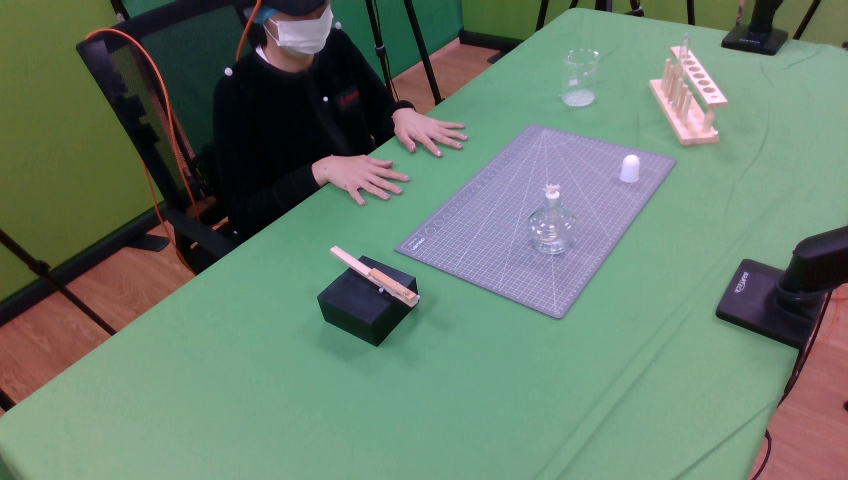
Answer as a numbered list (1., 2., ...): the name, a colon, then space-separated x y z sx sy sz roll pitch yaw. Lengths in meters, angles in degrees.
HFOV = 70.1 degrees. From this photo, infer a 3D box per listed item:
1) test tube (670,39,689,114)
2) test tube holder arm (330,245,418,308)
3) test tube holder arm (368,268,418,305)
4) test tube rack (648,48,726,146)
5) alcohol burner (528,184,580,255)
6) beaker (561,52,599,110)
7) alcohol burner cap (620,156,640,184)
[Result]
1. test tube: 0.484 -0.308 1.146 0.017 0.151 0.017 -5 41 5
2. test tube holder arm: -0.074 0.049 0.857 0.177 0.013 0.015 29 53 36
3. test tube holder arm: -0.043 0.063 0.827 0.087 0.010 0.015 29 53 37
4. test tube rack: 0.509 -0.285 1.186 0.067 0.085 0.241 -4 40 6
5. alcohol burner: 0.196 -0.035 0.911 0.078 0.119 0.077 -6 41 5
6. beaker: 0.325 -0.331 1.260 0.084 0.101 0.073 -20 42 -15
7. alcohol burner cap: 0.358 -0.124 1.047 0.034 0.048 0.033 -4 40 4
